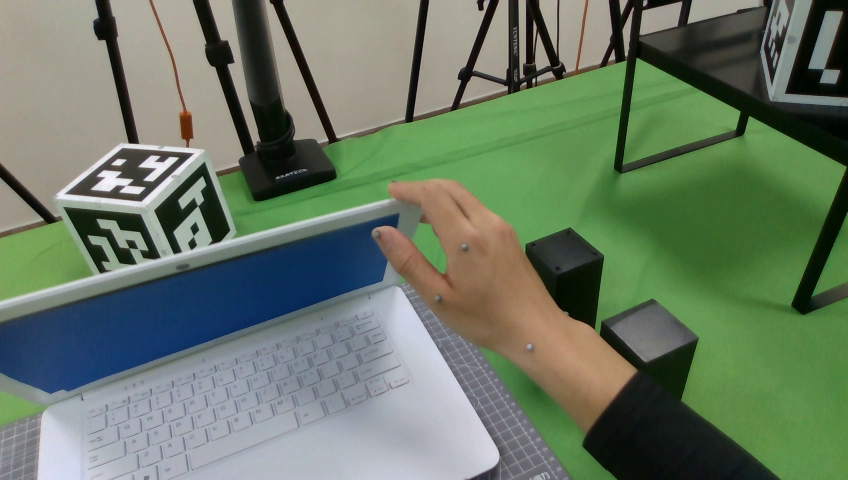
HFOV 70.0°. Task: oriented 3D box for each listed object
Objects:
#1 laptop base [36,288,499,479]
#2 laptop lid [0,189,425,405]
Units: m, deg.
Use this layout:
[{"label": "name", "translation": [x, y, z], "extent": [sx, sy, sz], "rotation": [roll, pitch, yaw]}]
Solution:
[{"label": "laptop base", "translation": [-0.142, 0.172, 0.522], "extent": [0.355, 0.023, 0.232], "rotation": [-19, 43, -16]}, {"label": "laptop lid", "translation": [-0.176, 0.055, 0.498], "extent": [0.357, 0.243, 0.013], "rotation": [-18, 72, -14]}]
